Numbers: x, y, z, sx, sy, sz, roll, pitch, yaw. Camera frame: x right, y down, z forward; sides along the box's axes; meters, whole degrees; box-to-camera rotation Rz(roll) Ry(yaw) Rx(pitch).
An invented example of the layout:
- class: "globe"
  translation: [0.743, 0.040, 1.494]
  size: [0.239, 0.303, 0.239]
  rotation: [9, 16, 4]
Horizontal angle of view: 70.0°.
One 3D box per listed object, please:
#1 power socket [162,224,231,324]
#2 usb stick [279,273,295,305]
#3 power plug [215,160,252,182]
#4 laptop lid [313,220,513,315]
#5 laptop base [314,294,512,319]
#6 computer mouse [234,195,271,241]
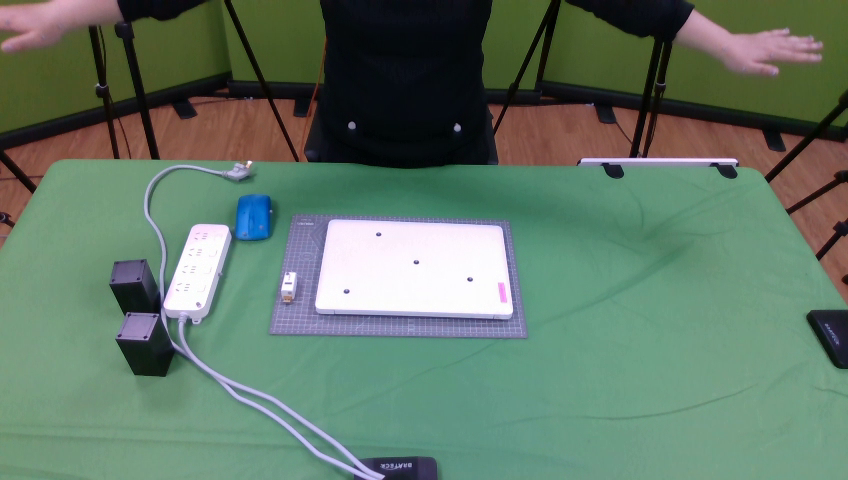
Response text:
- class: "power socket"
  translation: [-0.411, 0.053, 1.106]
  size: [0.072, 0.033, 0.225]
  rotation: [4, 46, -2]
- class: "usb stick"
  translation: [-0.246, 0.088, 1.085]
  size: [0.021, 0.027, 0.059]
  rotation: [4, 48, -4]
- class: "power plug"
  translation: [-0.409, -0.155, 1.303]
  size: [0.072, 0.035, 0.052]
  rotation: [23, 65, 3]
- class: "laptop lid"
  translation: [-0.017, 0.045, 1.137]
  size: [0.357, 0.013, 0.240]
  rotation: [3, 43, -1]
- class: "laptop base"
  translation: [-0.018, 0.055, 1.144]
  size: [0.354, 0.023, 0.234]
  rotation: [2, 42, -2]
- class: "computer mouse"
  translation: [-0.341, -0.048, 1.208]
  size: [0.063, 0.041, 0.116]
  rotation: [0, 50, -7]
